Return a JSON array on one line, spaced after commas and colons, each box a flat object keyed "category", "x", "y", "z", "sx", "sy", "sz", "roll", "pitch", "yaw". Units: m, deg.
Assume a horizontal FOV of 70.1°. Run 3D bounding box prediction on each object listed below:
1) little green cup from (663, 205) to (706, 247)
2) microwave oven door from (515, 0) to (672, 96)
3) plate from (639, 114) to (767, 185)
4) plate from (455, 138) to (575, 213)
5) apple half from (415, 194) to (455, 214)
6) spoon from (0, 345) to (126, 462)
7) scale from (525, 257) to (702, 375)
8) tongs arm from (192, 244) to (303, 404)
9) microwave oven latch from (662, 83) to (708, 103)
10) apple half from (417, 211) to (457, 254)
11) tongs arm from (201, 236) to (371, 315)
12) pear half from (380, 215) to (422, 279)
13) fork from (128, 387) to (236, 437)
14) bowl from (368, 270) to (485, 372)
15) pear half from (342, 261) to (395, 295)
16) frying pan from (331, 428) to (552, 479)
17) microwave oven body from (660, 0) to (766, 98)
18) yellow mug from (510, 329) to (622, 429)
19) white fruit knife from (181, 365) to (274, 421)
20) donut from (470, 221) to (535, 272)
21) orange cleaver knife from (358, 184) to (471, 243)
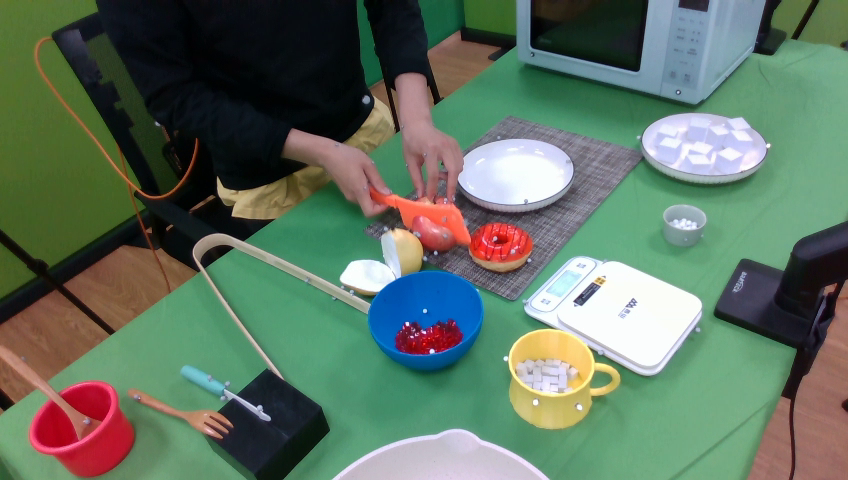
[{"category": "little green cup", "x": 0.396, "y": -0.020, "z": 0.926, "sx": 0.061, "sy": 0.039, "sz": 0.061, "roll": -4, "pitch": 40, "yaw": 4}, {"category": "microwave oven door", "x": 0.343, "y": -0.455, "z": 1.259, "sx": 0.353, "sy": 0.245, "sz": 0.039, "roll": 26, "pitch": 51, "yaw": 33}, {"category": "plate", "x": 0.489, "y": -0.157, "z": 1.074, "sx": 0.207, "sy": 0.039, "sz": 0.206, "roll": -4, "pitch": 40, "yaw": 4}, {"category": "plate", "x": 0.159, "y": -0.111, "z": 1.063, "sx": 0.209, "sy": 0.038, "sz": 0.208, "roll": -4, "pitch": 40, "yaw": 4}, {"category": "apple half", "x": 0.024, "y": -0.038, "z": 0.970, "sx": 0.080, "sy": 0.075, "sz": 0.053, "roll": 18, "pitch": 41, "yaw": 34}, {"category": "spoon", "x": -0.434, "y": 0.192, "z": 0.720, "sx": 0.194, "sy": 0.021, "sz": 0.042, "roll": 47, "pitch": 54, "yaw": -7}, {"category": "scale", "x": 0.254, "y": 0.091, "z": 0.821, "sx": 0.199, "sy": 0.032, "sz": 0.149, "roll": 28, "pitch": 51, "yaw": 35}, {"category": "tongs arm", "x": -0.268, "y": 0.109, "z": 0.882, "sx": 0.028, "sy": 0.028, "sz": 0.384, "roll": -35, "pitch": 46, "yaw": -18}, {"category": "microwave oven latch", "x": 0.517, "y": -0.296, "z": 1.204, "sx": 0.078, "sy": 0.029, "sz": 0.030, "roll": 27, "pitch": 52, "yaw": 35}, {"category": "apple half", "x": 0.012, "y": -0.002, "z": 0.938, "sx": 0.080, "sy": 0.082, "sz": 0.033, "roll": 29, "pitch": 57, "yaw": 35}, {"category": "tongs arm", "x": -0.209, "y": 0.062, "z": 0.924, "sx": 0.381, "sy": 0.026, "sz": 0.051, "roll": 23, "pitch": 53, "yaw": 32}, {"category": "pear half", "x": -0.033, "y": 0.004, "z": 0.907, "sx": 0.056, "sy": 0.110, "sz": 0.075, "roll": -26, "pitch": 46, "yaw": -24}, {"category": "fork", "x": -0.305, "y": 0.207, "z": 0.744, "sx": 0.206, "sy": 0.019, "sz": 0.028, "roll": 3, "pitch": 41, "yaw": 36}, {"category": "bowl", "x": 0.007, "y": 0.118, "z": 0.791, "sx": 0.151, "sy": 0.077, "sz": 0.150, "roll": -5, "pitch": 40, "yaw": 4}, {"category": "pear half", "x": -0.086, "y": 0.061, "z": 0.901, "sx": 0.089, "sy": 0.031, "sz": 0.070, "roll": -4, "pitch": 32, "yaw": -41}, {"category": "frying pan", "x": -0.089, "y": 0.306, "z": 0.564, "sx": 0.487, "sy": 0.103, "sz": 0.306, "roll": 10, "pitch": 41, "yaw": 7}, {"category": "microwave oven body", "x": 0.472, "y": -0.513, "z": 1.317, "sx": 0.438, "sy": 0.261, "sz": 0.327, "roll": 26, "pitch": 51, "yaw": 34}, {"category": "yellow mug", "x": 0.168, "y": 0.164, "z": 0.721, "sx": 0.130, "sy": 0.064, "sz": 0.099, "roll": 0, "pitch": 40, "yaw": 8}, {"category": "white fruit knife", "x": -0.246, "y": 0.188, "z": 0.747, "sx": 0.205, "sy": 0.027, "sz": 0.016, "roll": 9, "pitch": 42, "yaw": 40}, {"category": "donut", "x": 0.119, "y": 0.009, "z": 0.923, "sx": 0.099, "sy": 0.048, "sz": 0.098, "roll": -3, "pitch": 39, "yaw": 3}, {"category": "orange cleaver knife", "x": -0.018, "y": -0.042, "z": 0.952, "sx": 0.209, "sy": 0.077, "sz": 0.012, "roll": 17, "pitch": 45, "yaw": 32}]
